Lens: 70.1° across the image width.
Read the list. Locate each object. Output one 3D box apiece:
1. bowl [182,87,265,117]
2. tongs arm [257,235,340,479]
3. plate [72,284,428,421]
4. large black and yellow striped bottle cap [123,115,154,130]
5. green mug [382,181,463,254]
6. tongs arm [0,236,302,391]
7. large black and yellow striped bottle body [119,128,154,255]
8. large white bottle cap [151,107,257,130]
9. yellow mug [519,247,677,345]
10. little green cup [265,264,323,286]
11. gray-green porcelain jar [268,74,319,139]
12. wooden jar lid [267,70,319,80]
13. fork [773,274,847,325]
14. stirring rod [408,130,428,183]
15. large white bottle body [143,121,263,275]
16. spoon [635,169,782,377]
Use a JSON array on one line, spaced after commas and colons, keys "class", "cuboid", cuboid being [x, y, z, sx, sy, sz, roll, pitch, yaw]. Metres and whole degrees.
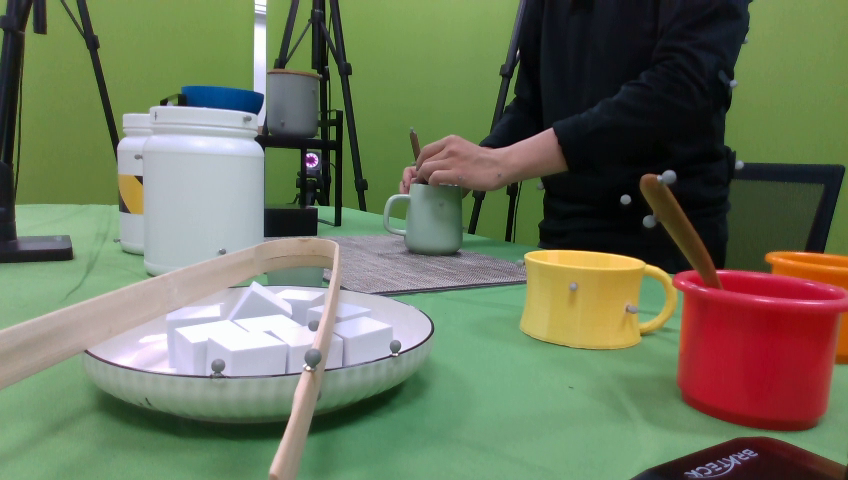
[{"class": "bowl", "cuboid": [-0.383, -0.243, 1.158, 0.151, 0.077, 0.151, 2, 7, 0]}, {"class": "tongs arm", "cuboid": [-0.074, 0.040, 0.345, 0.051, 0.026, 0.384, -1, 10, -3]}, {"class": "plate", "cuboid": [-0.102, 0.067, 0.381, 0.208, 0.039, 0.207, 3, 7, 0]}, {"class": "large black and yellow striped bottle cap", "cuboid": [-0.353, -0.159, 0.838, 0.115, 0.019, 0.115, 2, 6, 0]}, {"class": "green mug", "cuboid": [-0.001, -0.036, 0.922, 0.126, 0.105, 0.092, 0, 8, -16]}, {"class": "tongs arm", "cuboid": [-0.157, 0.038, 0.347, 0.028, 0.028, 0.388, -2, 8, 11]}, {"class": "large black and yellow striped bottle body", "cuboid": [-0.355, -0.076, 0.850, 0.131, 0.184, 0.130, 2, 8, 0]}, {"class": "large white bottle cap", "cuboid": [-0.250, -0.138, 0.692, 0.115, 0.018, 0.115, 3, 7, 0]}, {"class": "yellow mug", "cuboid": [0.148, 0.045, 0.513, 0.131, 0.064, 0.100, 3, 7, 0]}, {"class": "little green cup", "cuboid": [-0.134, 0.033, 0.628, 0.061, 0.038, 0.061, 3, 7, 0]}, {"class": "gray-green porcelain jar", "cuboid": [-0.277, -0.279, 1.280, 0.106, 0.126, 0.106, 2, 8, 0]}, {"class": "wooden jar lid", "cuboid": [-0.275, -0.339, 1.271, 0.108, 0.020, 0.108, 5, 6, 0]}, {"class": "fork", "cuboid": [0.332, 0.018, 0.443, 0.028, 0.018, 0.207, -1, -36, -14]}, {"class": "stirring rod", "cuboid": [0.001, -0.081, 0.919, 0.006, 0.176, 0.014, -18, 7, -39]}, {"class": "large white bottle body", "cuboid": [-0.254, -0.054, 0.702, 0.131, 0.184, 0.130, 2, 8, 0]}, {"class": "spoon", "cuboid": [0.161, 0.026, 0.346, 0.021, 0.194, 0.041, -51, 32, -20]}]
